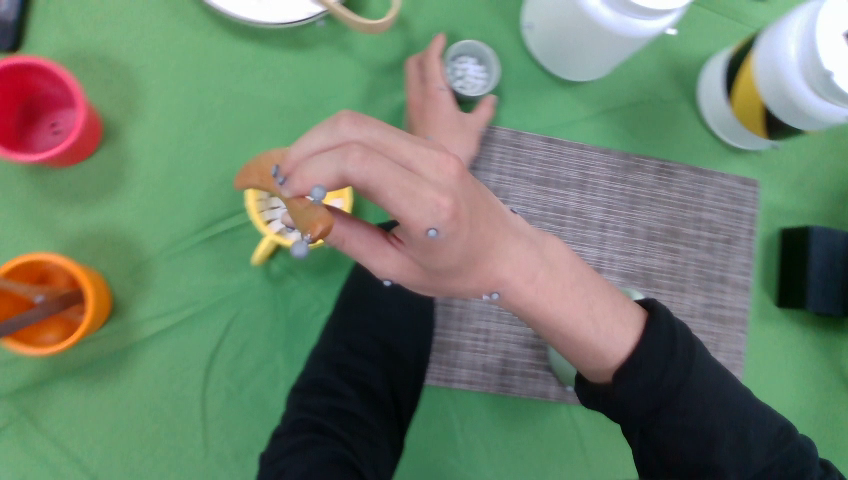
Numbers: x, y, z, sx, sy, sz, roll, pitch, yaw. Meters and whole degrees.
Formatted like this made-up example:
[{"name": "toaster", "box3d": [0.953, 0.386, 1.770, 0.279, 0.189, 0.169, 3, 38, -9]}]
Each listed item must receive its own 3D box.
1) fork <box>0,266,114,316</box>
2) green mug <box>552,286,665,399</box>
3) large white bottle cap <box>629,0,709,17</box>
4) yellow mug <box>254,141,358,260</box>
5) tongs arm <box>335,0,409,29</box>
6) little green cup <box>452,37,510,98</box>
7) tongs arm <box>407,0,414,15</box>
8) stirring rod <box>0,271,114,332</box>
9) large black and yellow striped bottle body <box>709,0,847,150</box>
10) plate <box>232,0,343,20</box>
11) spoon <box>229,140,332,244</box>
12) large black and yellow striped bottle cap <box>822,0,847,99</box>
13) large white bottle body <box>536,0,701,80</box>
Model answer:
[{"name": "fork", "box3d": [-0.370, 0.026, 0.528, 0.209, 0.018, 0.028, 37, 75, -51]}, {"name": "green mug", "box3d": [0.202, 0.107, 0.652, 0.093, 0.105, 0.125, 27, 83, -7]}, {"name": "large white bottle cap", "box3d": [0.221, -0.260, 0.547, 0.115, 0.018, 0.114, 0, 88, -10]}, {"name": "yellow mug", "box3d": [-0.128, -0.033, 0.618, 0.100, 0.064, 0.130, 36, 83, -7]}, {"name": "tongs arm", "box3d": [-0.181, -0.335, 0.602, 0.385, 0.026, 0.050, 39, 78, -5]}, {"name": "little green cup", "box3d": [0.061, -0.189, 0.674, 0.062, 0.038, 0.061, 0, 89, -10]}, {"name": "tongs arm", "box3d": [-0.124, -0.395, 0.617, 0.028, 0.028, 0.388, -38, 93, -16]}, {"name": "stirring rod", "box3d": [-0.357, 0.066, 0.534, 0.176, 0.006, 0.014, -34, 95, -52]}, {"name": "large black and yellow striped bottle body", "box3d": [0.426, -0.179, 0.668, 0.131, 0.183, 0.130, 0, 87, -10]}, {"name": "plate", "box3d": [-0.145, -0.332, 0.641, 0.208, 0.039, 0.207, 0, 88, -11]}, {"name": "spoon", "box3d": [-0.068, -0.026, 0.290, 0.041, 0.192, 0.022, -34, 117, -11]}, {"name": "large black and yellow striped bottle cap", "box3d": [0.440, -0.185, 0.586, 0.115, 0.019, 0.115, 0, 88, -11]}, {"name": "large white bottle body", "box3d": [0.207, -0.257, 0.629, 0.131, 0.184, 0.130, 0, 87, -10]}]
